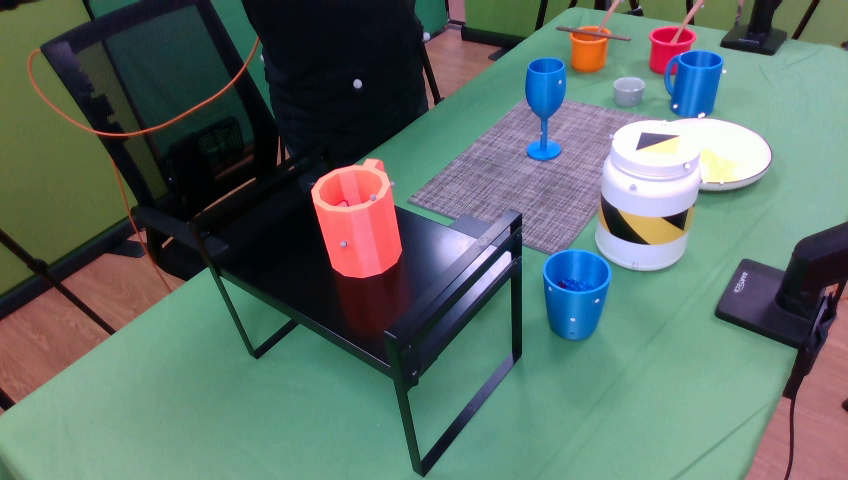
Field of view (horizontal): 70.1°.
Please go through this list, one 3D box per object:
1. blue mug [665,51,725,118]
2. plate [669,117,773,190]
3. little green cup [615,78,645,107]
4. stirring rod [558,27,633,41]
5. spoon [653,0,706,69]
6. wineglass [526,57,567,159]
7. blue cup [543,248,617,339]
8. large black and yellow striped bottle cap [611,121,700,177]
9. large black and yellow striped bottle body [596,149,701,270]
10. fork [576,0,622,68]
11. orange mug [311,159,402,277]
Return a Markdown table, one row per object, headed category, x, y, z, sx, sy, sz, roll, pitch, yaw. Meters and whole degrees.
| category | x | y | z | sx | sy | sz | roll | pitch | yaw |
| --- | --- | --- | --- | --- | --- | --- | --- | --- | --- |
| blue mug | 0.526 | -0.314 | 1.199 | 0.082 | 0.106 | 0.115 | -27 | 44 | -21 |
| plate | 0.495 | -0.148 | 1.063 | 0.209 | 0.038 | 0.208 | -5 | 40 | 4 |
| little green cup | 0.426 | -0.306 | 1.257 | 0.061 | 0.039 | 0.061 | -5 | 40 | 4 |
| stirring rod | 0.381 | -0.463 | 1.356 | 0.175 | 0.006 | 0.014 | 21 | 48 | 30 |
| spoon | 0.570 | -0.461 | 1.334 | 0.041 | 0.022 | 0.193 | 39 | 102 | 42 |
| wineglass | 0.221 | -0.237 | 1.097 | 0.074 | 0.173 | 0.073 | -4 | 41 | 4 |
| blue cup | 0.199 | 0.076 | 0.797 | 0.092 | 0.100 | 0.092 | -4 | 39 | 4 |
| large black and yellow striped bottle cap | 0.315 | -0.126 | 0.823 | 0.115 | 0.019 | 0.114 | -4 | 42 | 4 |
| large black and yellow striped bottle body | 0.323 | -0.062 | 0.877 | 0.131 | 0.185 | 0.130 | -5 | 40 | 4 |
| fork | 0.409 | -0.484 | 1.381 | 0.028 | 0.019 | 0.207 | 37 | 101 | 46 |
| orange mug | -0.070 | -0.034 | 0.694 | 0.083 | 0.101 | 0.126 | 5 | 46 | 16 |
